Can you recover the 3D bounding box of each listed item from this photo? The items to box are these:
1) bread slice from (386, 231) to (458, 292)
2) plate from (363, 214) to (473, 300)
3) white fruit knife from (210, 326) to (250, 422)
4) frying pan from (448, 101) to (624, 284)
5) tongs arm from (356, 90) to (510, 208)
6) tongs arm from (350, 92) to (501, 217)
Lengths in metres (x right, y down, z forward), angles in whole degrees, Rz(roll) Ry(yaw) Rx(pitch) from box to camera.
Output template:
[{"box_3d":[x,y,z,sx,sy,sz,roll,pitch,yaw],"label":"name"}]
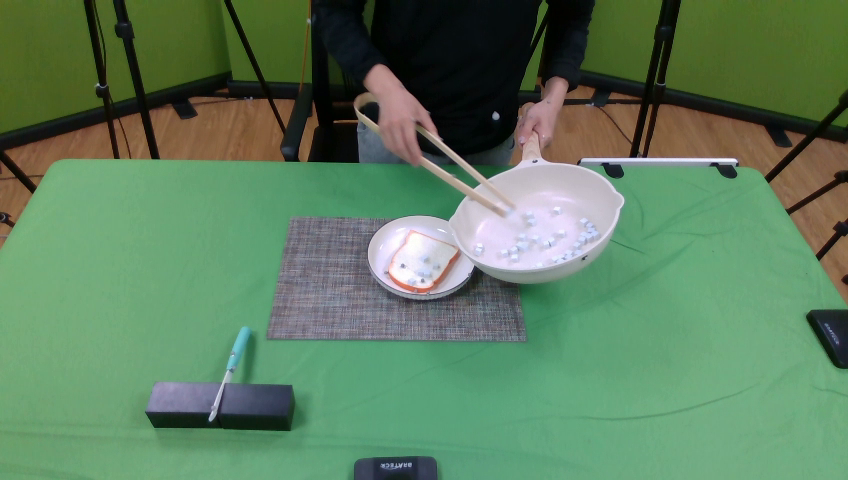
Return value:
[{"box_3d":[-0.007,0.043,1.142,0.107,0.018,0.134,18,45,14],"label":"bread slice"},{"box_3d":[-0.010,0.036,1.146,0.208,0.039,0.206,3,46,-2],"label":"plate"},{"box_3d":[-0.301,0.201,0.942,0.016,0.027,0.206,2,32,-2],"label":"white fruit knife"},{"box_3d":[0.207,-0.109,1.143,0.306,0.103,0.485,-6,49,15],"label":"frying pan"},{"box_3d":[0.011,-0.175,1.117,0.028,0.028,0.385,-44,66,-13],"label":"tongs arm"},{"box_3d":[-0.002,-0.163,1.112,0.383,0.026,0.050,35,70,21],"label":"tongs arm"}]
